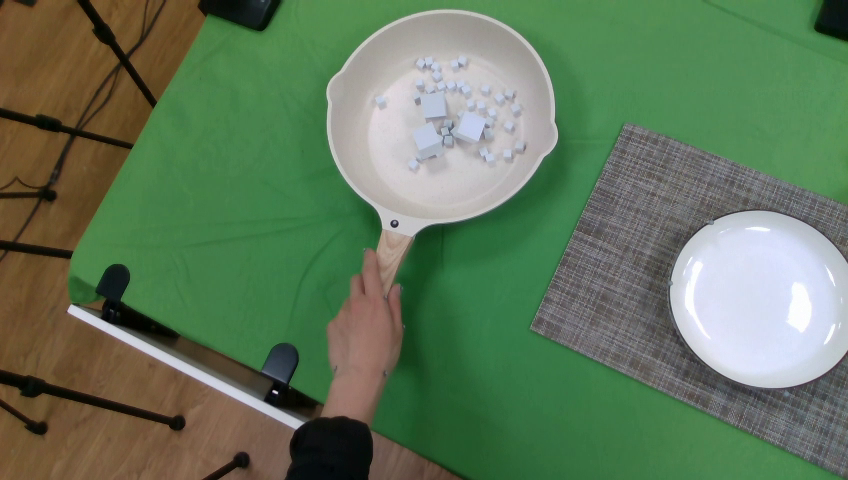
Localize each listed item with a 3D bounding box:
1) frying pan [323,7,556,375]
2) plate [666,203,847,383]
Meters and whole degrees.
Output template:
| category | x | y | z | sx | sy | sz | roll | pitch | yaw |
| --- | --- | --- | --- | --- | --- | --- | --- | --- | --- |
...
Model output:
| category | x | y | z | sx | sy | sz | roll | pitch | yaw |
| --- | --- | --- | --- | --- | --- | --- | --- | --- | --- |
| frying pan | -0.016 | -0.066 | 0.760 | 0.306 | 0.103 | 0.485 | 17 | 71 | 12 |
| plate | 0.387 | 0.061 | 0.706 | 0.207 | 0.039 | 0.206 | -2 | 77 | 8 |
